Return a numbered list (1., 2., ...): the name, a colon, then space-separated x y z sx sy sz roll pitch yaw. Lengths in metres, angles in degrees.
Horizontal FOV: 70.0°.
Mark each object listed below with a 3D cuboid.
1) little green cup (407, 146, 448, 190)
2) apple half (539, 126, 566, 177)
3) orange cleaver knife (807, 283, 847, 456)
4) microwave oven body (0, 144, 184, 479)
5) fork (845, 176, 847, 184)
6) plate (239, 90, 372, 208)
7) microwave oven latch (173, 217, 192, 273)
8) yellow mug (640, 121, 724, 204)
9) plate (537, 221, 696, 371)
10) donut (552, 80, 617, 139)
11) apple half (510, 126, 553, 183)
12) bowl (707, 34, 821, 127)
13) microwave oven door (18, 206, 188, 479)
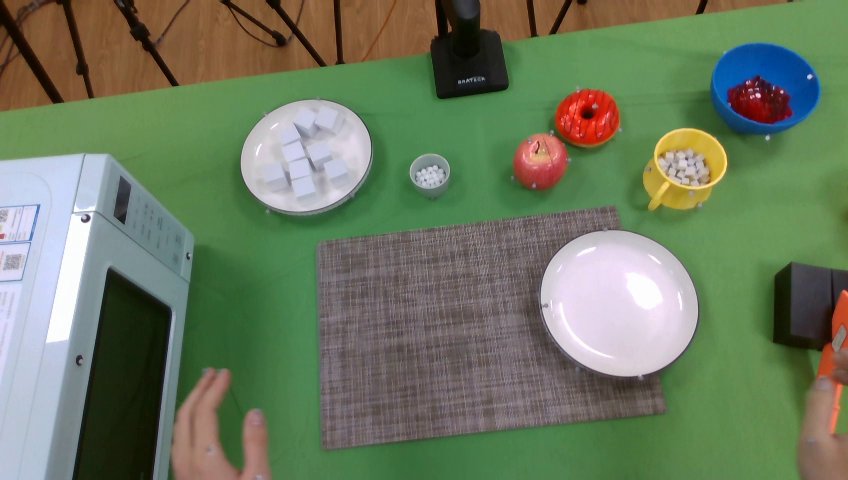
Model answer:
1. little green cup: 0.007 -0.107 0.922 0.061 0.039 0.061 -2 67 5
2. apple half: 0.193 -0.133 0.898 0.033 0.082 0.080 -16 67 3
3. orange cleaver knife: 0.500 0.159 0.748 0.012 0.077 0.211 11 99 13
4. microwave oven body: -0.507 0.143 0.736 0.326 0.262 0.438 -4 68 3
5. fork: 0.595 -0.065 0.795 0.209 0.018 0.028 7 61 -40
6. plate: -0.182 -0.139 0.951 0.207 0.039 0.206 -2 67 4
7. microwave oven latch: -0.360 0.008 0.885 0.030 0.030 0.078 -2 68 3
8. yellow mug: 0.362 -0.102 0.875 0.099 0.064 0.130 39 77 18
9. plate: 0.257 0.076 0.822 0.209 0.038 0.207 -2 67 4
10. donut: 0.248 -0.201 0.938 0.099 0.048 0.098 -2 70 6
11. apple half: 0.155 -0.122 0.898 0.053 0.075 0.080 -16 71 3
12. bowl: 0.493 -0.224 0.908 0.151 0.077 0.150 -2 68 5
13. microwave oven door: -0.361 0.170 0.708 0.039 0.245 0.353 -4 67 3
